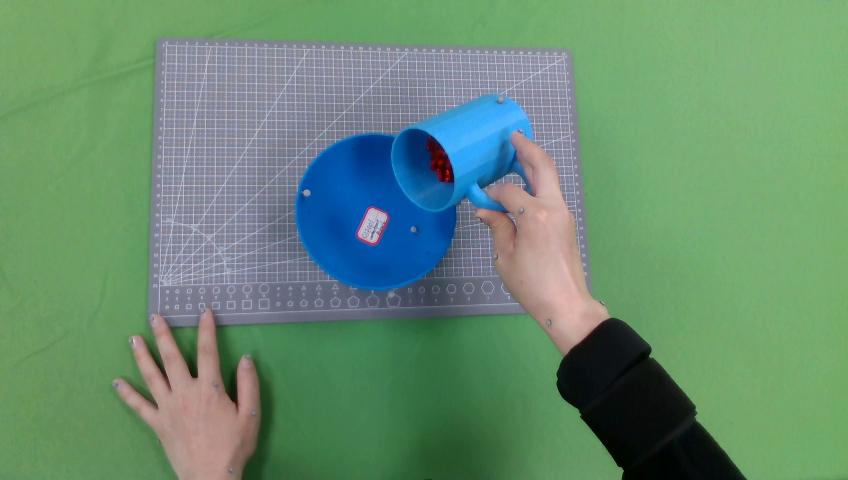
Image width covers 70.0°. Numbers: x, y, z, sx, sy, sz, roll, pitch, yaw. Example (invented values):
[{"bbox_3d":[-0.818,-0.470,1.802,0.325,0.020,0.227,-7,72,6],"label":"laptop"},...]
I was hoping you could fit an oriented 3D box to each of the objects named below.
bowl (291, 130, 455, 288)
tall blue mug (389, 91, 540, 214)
[{"bbox_3d":[-0.050,-0.023,0.592,0.152,0.077,0.151,2,80,-8],"label":"bowl"},{"bbox_3d":[0.045,-0.076,0.527,0.108,0.106,0.078,-32,129,-38],"label":"tall blue mug"}]
